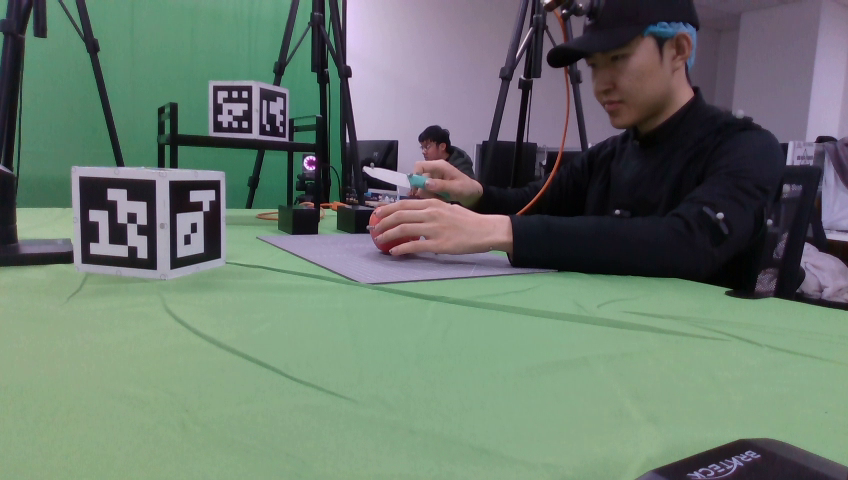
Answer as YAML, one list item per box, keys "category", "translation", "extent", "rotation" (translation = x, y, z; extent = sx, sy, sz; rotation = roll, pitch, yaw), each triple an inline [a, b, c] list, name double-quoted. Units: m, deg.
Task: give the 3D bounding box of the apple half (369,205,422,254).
- category: "apple half"
  translation: [-0.037, -0.015, 0.919]
  extent: [0.081, 0.074, 0.053]
  rotation: [2, 10, -32]

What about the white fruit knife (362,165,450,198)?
- category: "white fruit knife"
  translation: [-0.025, -0.099, 1.001]
  extent: [0.016, 0.027, 0.208]
  rotation: [-5, -10, 41]

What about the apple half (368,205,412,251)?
- category: "apple half"
  translation: [-0.059, -0.021, 0.951]
  extent: [0.082, 0.081, 0.032]
  rotation: [-2, 13, -32]
